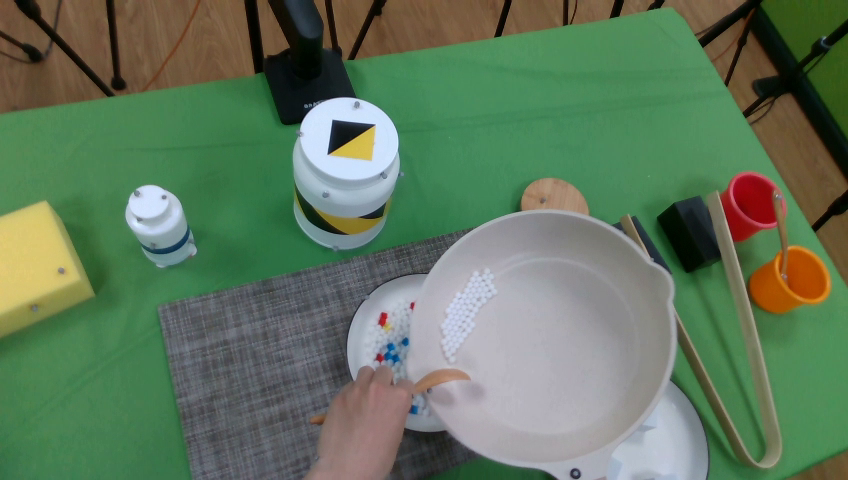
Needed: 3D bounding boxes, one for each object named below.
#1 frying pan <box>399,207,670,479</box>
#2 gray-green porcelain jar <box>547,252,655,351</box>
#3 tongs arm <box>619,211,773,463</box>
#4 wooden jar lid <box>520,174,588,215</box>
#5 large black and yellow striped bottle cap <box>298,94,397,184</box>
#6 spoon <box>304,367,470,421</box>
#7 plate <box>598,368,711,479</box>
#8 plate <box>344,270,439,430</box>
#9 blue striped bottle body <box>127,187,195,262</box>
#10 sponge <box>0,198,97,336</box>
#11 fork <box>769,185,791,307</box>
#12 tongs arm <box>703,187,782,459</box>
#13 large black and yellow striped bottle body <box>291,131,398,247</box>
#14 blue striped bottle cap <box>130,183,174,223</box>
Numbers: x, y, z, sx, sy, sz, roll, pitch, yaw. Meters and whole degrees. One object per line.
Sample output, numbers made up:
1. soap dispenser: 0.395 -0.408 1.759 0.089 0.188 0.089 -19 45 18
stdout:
1. frying pan: 0.138 0.185 0.623 0.306 0.104 0.482 -21 52 13
2. gray-green porcelain jar: 0.229 0.088 0.809 0.106 0.127 0.105 4 66 -9
3. tongs arm: 0.373 0.130 0.840 0.051 0.026 0.383 -20 82 -20
4. wooden jar lid: 0.196 -0.049 0.922 0.109 0.021 0.107 4 67 -10
5. large black and yellow striped bottle cap: -0.088 -0.120 0.708 0.115 0.019 0.114 5 67 -11
6. spoon: -0.033 0.164 0.641 0.194 0.041 0.021 -12 94 -33
7. plate: 0.270 0.257 0.793 0.208 0.039 0.206 5 65 -10
8. plate: 0.001 0.140 0.783 0.210 0.038 0.207 5 66 -10
9. blue striped bottle body: -0.323 -0.023 0.744 0.063 0.121 0.062 5 65 -10
10. sponge: -0.515 0.050 0.704 0.207 0.061 0.117 -28 75 -22
11. fork: 0.524 0.012 0.892 0.028 0.018 0.209 -28 119 -14
12. tongs arm: 0.452 0.110 0.866 0.028 0.028 0.385 -4 77 -21
13. large black and yellow striped bottle body: -0.104 -0.084 0.783 0.131 0.185 0.129 5 65 -10
14. blue striped bottle cap: -0.313 -0.043 0.697 0.045 0.021 0.044 4 63 -7
